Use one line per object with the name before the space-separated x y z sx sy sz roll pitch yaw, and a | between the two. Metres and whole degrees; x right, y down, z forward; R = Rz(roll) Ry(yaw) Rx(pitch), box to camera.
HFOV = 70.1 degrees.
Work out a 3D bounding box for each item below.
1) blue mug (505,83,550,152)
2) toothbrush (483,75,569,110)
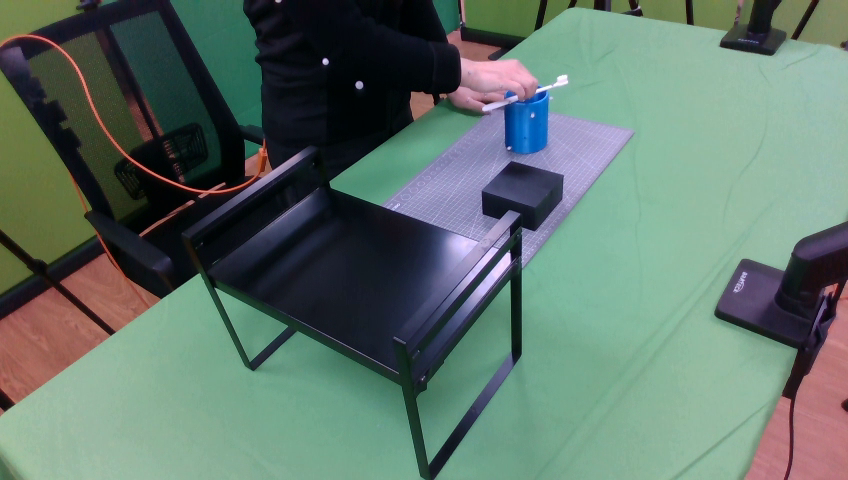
blue mug | 0.204 -0.243 1.160 0.082 0.106 0.116 14 45 24
toothbrush | 0.188 -0.269 1.102 0.182 0.017 0.014 -22 47 -16
